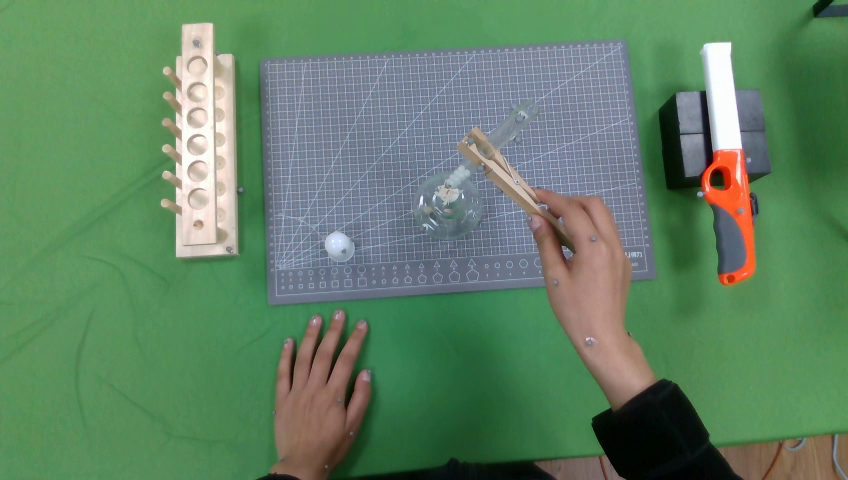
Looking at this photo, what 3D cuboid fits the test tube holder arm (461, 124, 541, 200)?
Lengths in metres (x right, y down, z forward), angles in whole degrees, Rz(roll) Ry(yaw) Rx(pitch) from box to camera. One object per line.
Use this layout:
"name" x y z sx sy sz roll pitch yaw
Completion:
"test tube holder arm" 0.068 -0.065 0.530 0.088 0.015 0.010 46 57 -6

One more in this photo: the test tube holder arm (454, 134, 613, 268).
"test tube holder arm" 0.098 -0.032 0.534 0.179 0.015 0.013 39 58 -10

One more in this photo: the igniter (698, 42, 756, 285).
"igniter" 0.333 -0.088 0.673 0.057 0.025 0.275 -1 80 4

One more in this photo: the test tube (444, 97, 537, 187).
"test tube" 0.052 -0.078 0.519 0.017 0.150 0.017 7 70 -21

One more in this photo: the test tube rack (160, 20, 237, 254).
"test tube rack" -0.255 -0.111 0.675 0.067 0.085 0.241 -3 81 -2

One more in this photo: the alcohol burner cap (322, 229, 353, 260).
"alcohol burner cap" -0.099 0.003 0.681 0.034 0.048 0.033 0 80 -1

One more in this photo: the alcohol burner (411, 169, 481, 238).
"alcohol burner" 0.024 -0.043 0.657 0.078 0.119 0.077 0 82 0
